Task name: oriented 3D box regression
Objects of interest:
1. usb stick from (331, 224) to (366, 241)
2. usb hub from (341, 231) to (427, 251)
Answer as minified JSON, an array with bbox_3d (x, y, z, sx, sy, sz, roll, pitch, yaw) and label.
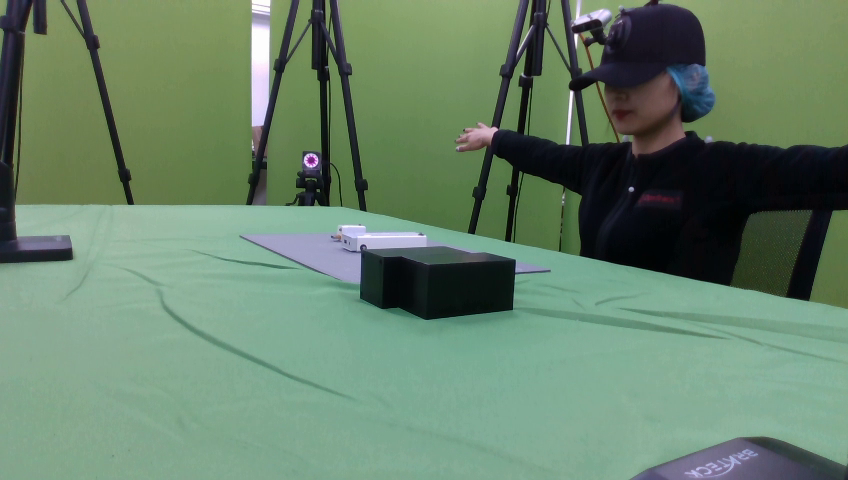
[{"bbox_3d":[-0.128,-0.013,1.018,0.059,0.027,0.021,-5,11,-31],"label":"usb stick"},{"bbox_3d":[-0.061,0.001,0.935,0.126,0.025,0.049,-2,9,-26],"label":"usb hub"}]
